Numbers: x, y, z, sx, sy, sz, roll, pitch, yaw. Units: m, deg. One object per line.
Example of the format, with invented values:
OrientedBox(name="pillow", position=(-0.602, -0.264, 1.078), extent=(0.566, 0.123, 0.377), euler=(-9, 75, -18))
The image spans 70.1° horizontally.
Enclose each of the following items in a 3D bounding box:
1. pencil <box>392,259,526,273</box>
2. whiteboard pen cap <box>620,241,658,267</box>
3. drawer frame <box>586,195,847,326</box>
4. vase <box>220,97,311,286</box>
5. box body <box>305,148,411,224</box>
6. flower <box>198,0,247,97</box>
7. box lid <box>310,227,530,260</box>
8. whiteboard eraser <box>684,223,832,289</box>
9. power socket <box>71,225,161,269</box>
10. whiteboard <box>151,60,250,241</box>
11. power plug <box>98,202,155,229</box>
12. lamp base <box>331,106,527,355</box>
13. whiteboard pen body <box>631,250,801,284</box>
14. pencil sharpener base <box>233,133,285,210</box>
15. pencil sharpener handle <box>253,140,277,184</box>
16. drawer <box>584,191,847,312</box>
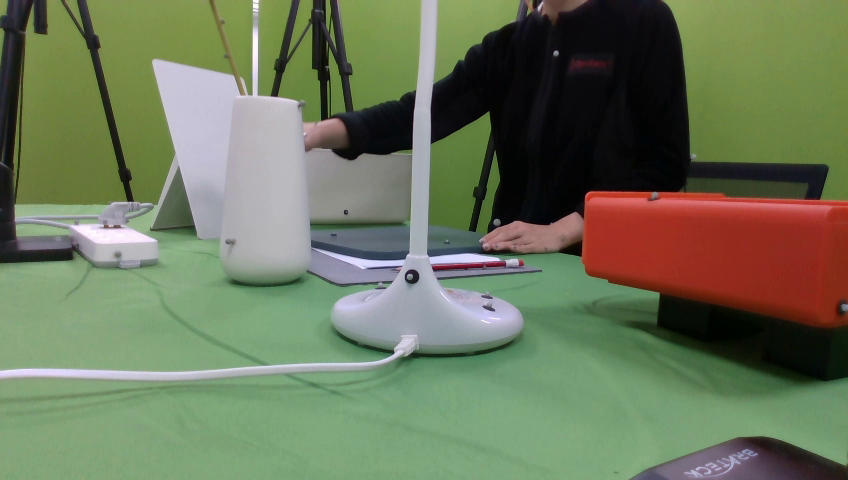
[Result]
OrientedBox(name="pencil", position=(0.049, 0.035, 0.782), extent=(0.195, 0.012, 0.012), euler=(-3, 9, -25))
OrientedBox(name="whiteboard pen cap", position=(0.199, 0.013, 0.557), extent=(0.018, 0.018, 0.033), euler=(-4, 18, -40))
OrientedBox(name="drawer frame", position=(0.284, 0.004, 0.508), extent=(0.203, 0.082, 0.212), euler=(-1, 6, -28))
OrientedBox(name="vase", position=(-0.172, -0.052, 0.662), extent=(0.098, 0.200, 0.098), euler=(3, 9, 0))
OrientedBox(name="box body", position=(-0.233, -0.127, 1.373), extent=(0.366, 0.160, 0.253), euler=(-2, 8, -29))
OrientedBox(name="flower", position=(-0.187, -0.133, 0.648), extent=(0.038, 0.362, 0.044), euler=(-1, 22, 43))
OrientedBox(name="box lid", position=(-0.024, 0.001, 1.023), extent=(0.374, 0.015, 0.262), euler=(-3, 9, -44))
OrientedBox(name="whiteboard eraser", position=(0.305, 0.013, 0.558), extent=(0.056, 0.042, 0.112), euler=(-9, 19, -31))
OrientedBox(name="power socket", position=(-0.408, 0.004, 0.793), extent=(0.072, 0.032, 0.225), euler=(-2, 8, -38))
OrientedBox(name="whiteboard", position=(-0.408, -0.140, 1.094), extent=(0.143, 0.305, 0.218), euler=(-15, 0, 25))
OrientedBox(name="power plug", position=(-0.416, -0.027, 0.848), extent=(0.073, 0.052, 0.035), euler=(0, 8, -28))
OrientedBox(name="lamp base", position=(0.006, -0.012, 0.478), extent=(0.161, 0.180, 0.179), euler=(2, 10, 2))
OrientedBox(name="whiteboard pen body", position=(0.239, 0.020, 0.512), extent=(0.017, 0.017, 0.140), euler=(-4, 8, -41))
OrientedBox(name="pencil sharpener base", position=(-0.244, -0.103, 0.902), extent=(0.061, 0.107, 0.076), euler=(6, 8, -9))
OrientedBox(name="pencil sharpener handle", position=(-0.250, -0.123, 0.950), extent=(0.036, 0.067, 0.030), euler=(6, 8, -9))
OrientedBox(name="drawer", position=(0.280, 0.001, 0.513), extent=(0.195, 0.073, 0.211), euler=(0, 8, -28))
